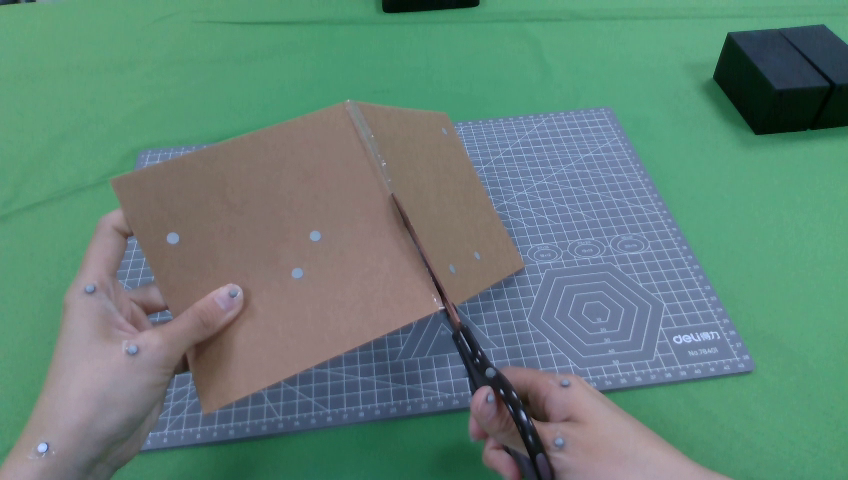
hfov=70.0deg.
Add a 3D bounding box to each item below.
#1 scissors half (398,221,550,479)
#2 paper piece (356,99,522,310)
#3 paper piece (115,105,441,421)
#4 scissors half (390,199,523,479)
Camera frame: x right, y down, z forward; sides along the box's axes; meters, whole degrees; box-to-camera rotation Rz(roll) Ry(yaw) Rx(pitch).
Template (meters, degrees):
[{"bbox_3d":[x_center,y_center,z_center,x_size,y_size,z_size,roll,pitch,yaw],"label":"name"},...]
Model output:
[{"bbox_3d":[0.018,0.048,0.324,0.013,0.040,0.173,-26,64,-8],"label":"scissors half"},{"bbox_3d":[0.016,-0.028,0.407,0.008,0.136,0.138,-23,-3,28],"label":"paper piece"},{"bbox_3d":[-0.075,0.007,0.332,0.136,0.004,0.135,-23,89,-17],"label":"paper piece"},{"bbox_3d":[0.018,0.055,0.344,0.013,0.040,0.175,-25,88,-13],"label":"scissors half"}]
